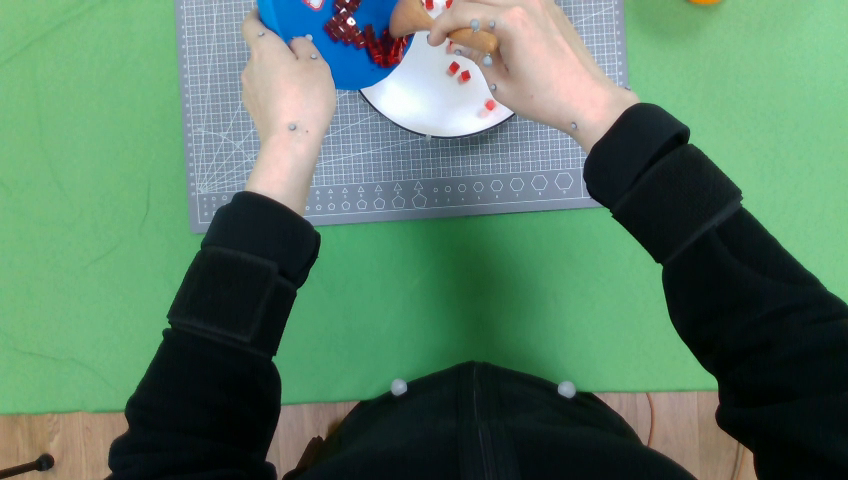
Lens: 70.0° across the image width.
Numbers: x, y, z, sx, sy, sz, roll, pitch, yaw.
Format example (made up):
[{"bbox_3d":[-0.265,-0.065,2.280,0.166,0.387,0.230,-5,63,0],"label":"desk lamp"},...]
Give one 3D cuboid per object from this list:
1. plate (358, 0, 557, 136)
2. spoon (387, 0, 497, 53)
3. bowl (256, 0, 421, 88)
[{"bbox_3d":[0.023,-0.204,0.590,0.209,0.038,0.209,0,91,3],"label":"plate"},{"bbox_3d":[0.010,-0.161,0.452,0.022,0.191,0.042,19,105,-34],"label":"spoon"},{"bbox_3d":[-0.083,-0.207,0.501,0.076,0.153,0.151,24,92,41],"label":"bowl"}]
